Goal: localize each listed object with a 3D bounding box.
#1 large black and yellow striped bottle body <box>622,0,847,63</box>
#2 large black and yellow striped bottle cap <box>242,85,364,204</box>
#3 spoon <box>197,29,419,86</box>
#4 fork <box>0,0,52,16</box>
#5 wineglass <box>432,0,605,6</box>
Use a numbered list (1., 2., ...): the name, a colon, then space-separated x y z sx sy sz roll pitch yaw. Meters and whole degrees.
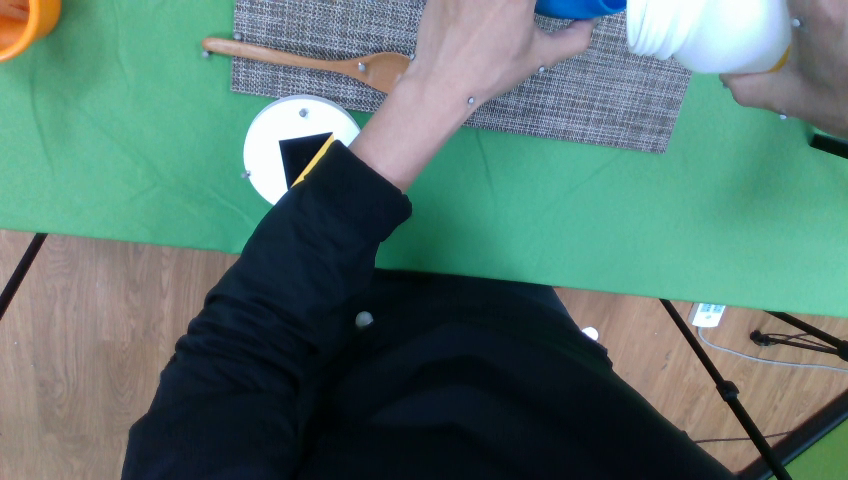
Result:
1. large black and yellow striped bottle body: 0.215 -0.170 0.347 0.183 0.130 0.131 3 116 9
2. large black and yellow striped bottle cap: -0.114 -0.089 0.579 0.115 0.018 0.116 -6 120 -10
3. spoon: -0.100 -0.167 0.537 0.194 0.021 0.042 4 136 -14
4. fork: -0.361 -0.186 0.404 0.208 0.018 0.028 -8 134 -58
5. wineglass: 0.070 -0.212 0.453 0.074 0.170 0.074 -17 116 -37
